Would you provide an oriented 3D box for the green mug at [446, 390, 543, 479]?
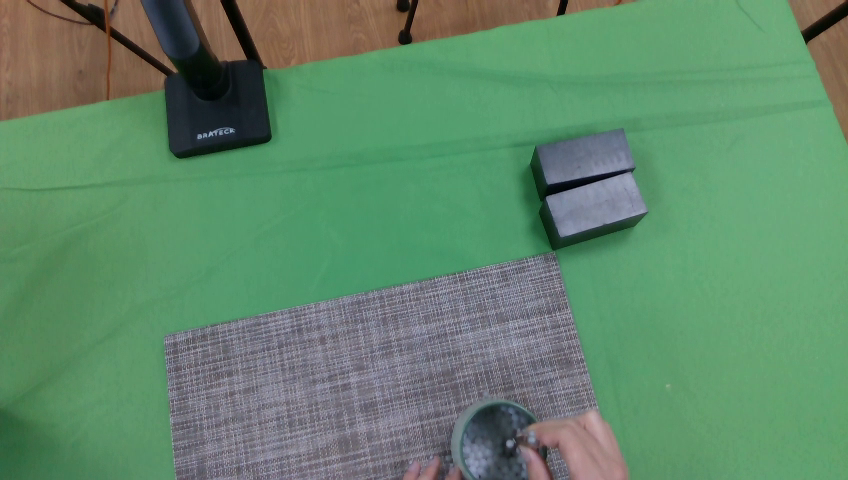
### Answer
[{"bbox_3d":[0.076,0.205,0.584,0.092,0.105,0.124,-29,75,-7],"label":"green mug"}]

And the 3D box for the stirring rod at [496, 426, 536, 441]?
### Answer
[{"bbox_3d":[0.078,0.171,0.531,0.014,0.177,0.006,15,72,6],"label":"stirring rod"}]
